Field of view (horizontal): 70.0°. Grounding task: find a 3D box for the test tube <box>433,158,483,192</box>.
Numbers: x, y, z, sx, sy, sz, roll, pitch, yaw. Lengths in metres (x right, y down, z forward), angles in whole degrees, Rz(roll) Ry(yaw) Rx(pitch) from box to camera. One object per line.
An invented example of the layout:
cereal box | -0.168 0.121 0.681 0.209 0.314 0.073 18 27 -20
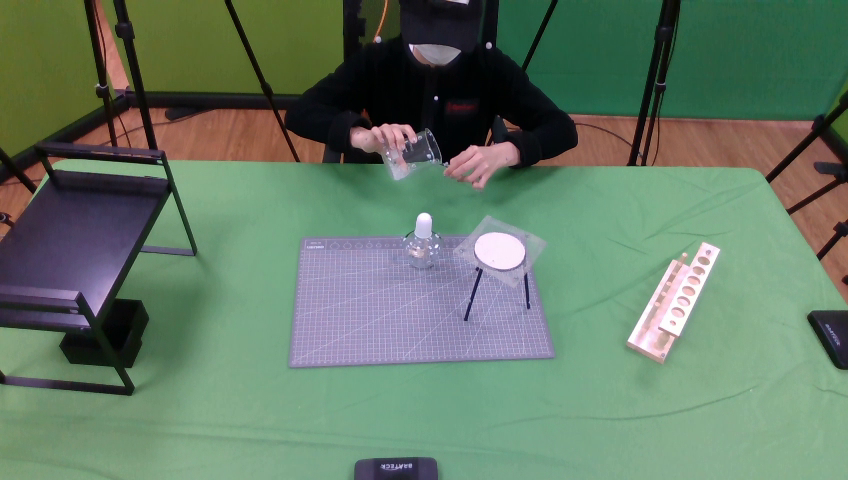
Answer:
test tube | 0.072 -0.130 1.239 0.151 0.017 0.017 26 28 -43

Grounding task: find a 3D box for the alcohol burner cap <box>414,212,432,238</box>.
alcohol burner cap | 0.000 -0.030 1.107 0.034 0.048 0.033 4 41 -3

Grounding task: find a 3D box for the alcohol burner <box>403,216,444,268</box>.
alcohol burner | -0.001 -0.004 1.132 0.078 0.120 0.077 1 46 0

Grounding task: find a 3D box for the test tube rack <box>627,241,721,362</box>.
test tube rack | 0.452 0.098 1.087 0.066 0.085 0.242 28 51 22

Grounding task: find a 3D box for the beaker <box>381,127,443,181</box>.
beaker | -0.025 -0.160 1.154 0.100 0.084 0.073 -23 48 -7

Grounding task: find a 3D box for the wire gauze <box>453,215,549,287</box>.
wire gauze | 0.129 0.012 1.017 0.124 0.011 0.121 28 50 23

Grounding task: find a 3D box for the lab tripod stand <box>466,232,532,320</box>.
lab tripod stand | 0.125 0.059 1.065 0.148 0.132 0.147 1 45 0
